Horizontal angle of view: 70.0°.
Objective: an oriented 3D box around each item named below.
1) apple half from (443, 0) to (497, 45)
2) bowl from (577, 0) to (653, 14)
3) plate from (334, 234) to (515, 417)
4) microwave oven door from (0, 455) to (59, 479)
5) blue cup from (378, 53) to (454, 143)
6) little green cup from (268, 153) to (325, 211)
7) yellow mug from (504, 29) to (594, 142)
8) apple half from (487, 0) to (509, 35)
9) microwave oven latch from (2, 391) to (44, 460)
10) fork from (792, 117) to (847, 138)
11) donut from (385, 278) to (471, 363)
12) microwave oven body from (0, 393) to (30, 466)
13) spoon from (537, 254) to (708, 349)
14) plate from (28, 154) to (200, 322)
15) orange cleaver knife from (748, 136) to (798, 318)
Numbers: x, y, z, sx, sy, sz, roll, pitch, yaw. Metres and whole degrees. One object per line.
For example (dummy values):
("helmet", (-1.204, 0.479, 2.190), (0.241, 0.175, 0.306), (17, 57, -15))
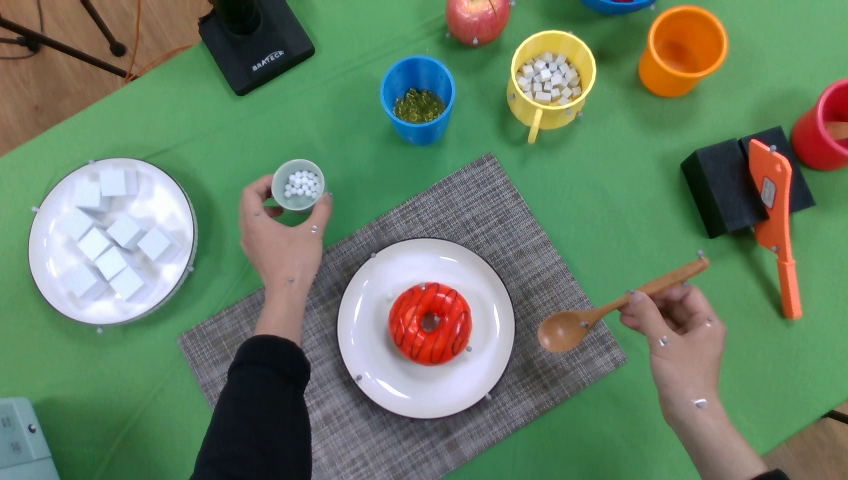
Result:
("apple half", (0.051, -0.281, 0.758), (0.053, 0.075, 0.080), (-26, 83, 1))
("bowl", (0.235, -0.342, 0.757), (0.151, 0.077, 0.151), (0, 81, 3))
("plate", (0.001, 0.097, 0.707), (0.209, 0.038, 0.208), (0, 80, 3))
("microwave oven door", (-0.370, 0.385, 0.555), (0.039, 0.245, 0.354), (-28, 79, -3))
("blue cup", (-0.008, -0.160, 0.725), (0.092, 0.100, 0.092), (0, 81, 1))
("little green cup", (-0.145, -0.065, 0.701), (0.061, 0.039, 0.061), (-3, 63, 6))
("yellow mug", (0.146, -0.182, 0.739), (0.100, 0.064, 0.130), (16, 82, 5))
("apple half", (0.087, -0.298, 0.758), (0.033, 0.081, 0.081), (-26, 79, 0))
("microwave oven latch", (-0.466, 0.213, 0.694), (0.030, 0.029, 0.079), (-25, 80, -3))
("fork", (0.525, -0.127, 0.671), (0.205, 0.019, 0.028), (9, 65, 47))
("donut", (0.005, 0.092, 0.696), (0.099, 0.048, 0.098), (-1, 81, 4))
("microwave oven body", (-0.519, 0.417, 0.562), (0.326, 0.261, 0.440), (-28, 80, -3))
("spoon", (0.189, 0.062, 0.598), (0.194, 0.022, 0.041), (-37, 63, 40))
("plate", (-0.375, -0.002, 0.746), (0.207, 0.039, 0.207), (0, 80, 3))
("orange cleaver knife", (0.396, -0.013, 0.689), (0.012, 0.076, 0.212), (-16, 109, 2))
